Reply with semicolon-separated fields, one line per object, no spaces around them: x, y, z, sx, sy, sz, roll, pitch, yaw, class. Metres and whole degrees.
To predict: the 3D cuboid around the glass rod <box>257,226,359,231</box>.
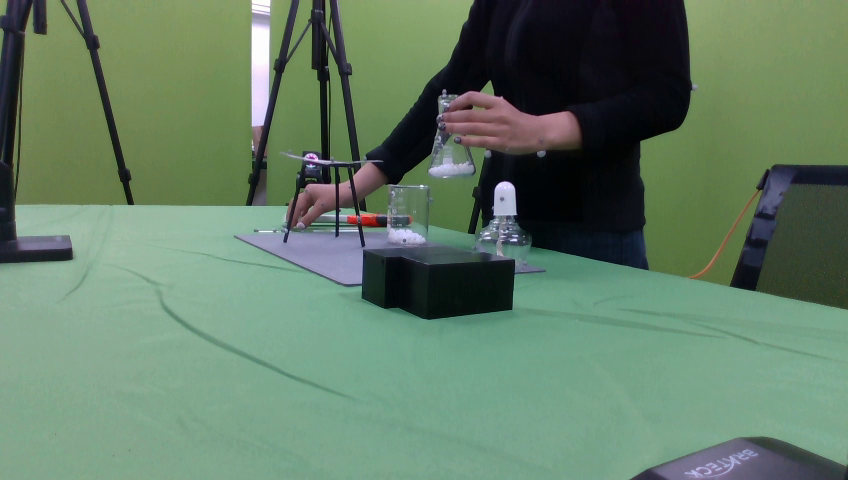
-0.215;-0.022;1.150;0.201;0.008;0.008;-2;8;-27;glass rod

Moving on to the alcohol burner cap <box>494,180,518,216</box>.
0.108;-0.055;0.800;0.034;0.048;0.034;-2;4;0;alcohol burner cap

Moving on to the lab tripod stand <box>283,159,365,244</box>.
-0.151;-0.063;0.983;0.148;0.131;0.148;4;7;0;lab tripod stand

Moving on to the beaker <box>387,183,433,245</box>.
-0.027;-0.044;1.012;0.074;0.100;0.083;-2;8;-34;beaker

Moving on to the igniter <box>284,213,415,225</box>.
-0.154;-0.045;1.282;0.278;0.025;0.057;0;-3;-20;igniter

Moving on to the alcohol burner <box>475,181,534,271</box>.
0.108;-0.020;0.804;0.078;0.119;0.078;3;5;0;alcohol burner

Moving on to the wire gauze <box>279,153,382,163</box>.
-0.149;-0.129;0.974;0.124;0.011;0.122;10;9;41;wire gauze

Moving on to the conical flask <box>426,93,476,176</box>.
0.040;-0.157;0.911;0.075;0.122;0.075;-1;4;0;conical flask
